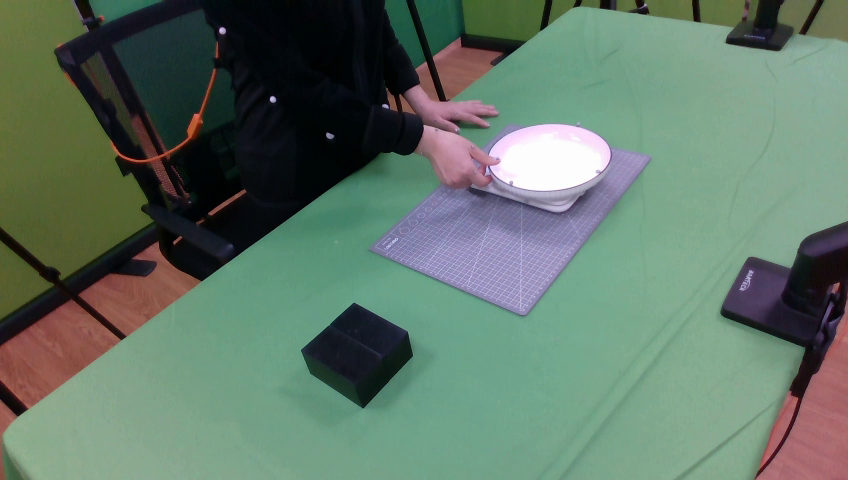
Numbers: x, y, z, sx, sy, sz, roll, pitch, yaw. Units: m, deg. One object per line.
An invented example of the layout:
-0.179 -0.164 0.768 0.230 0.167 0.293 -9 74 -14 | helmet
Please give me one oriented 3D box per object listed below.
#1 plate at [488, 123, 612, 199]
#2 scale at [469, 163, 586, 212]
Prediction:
0.214 -0.132 1.037 0.209 0.038 0.208 -6 41 5 | plate
0.194 -0.117 1.076 0.199 0.032 0.149 21 48 32 | scale
